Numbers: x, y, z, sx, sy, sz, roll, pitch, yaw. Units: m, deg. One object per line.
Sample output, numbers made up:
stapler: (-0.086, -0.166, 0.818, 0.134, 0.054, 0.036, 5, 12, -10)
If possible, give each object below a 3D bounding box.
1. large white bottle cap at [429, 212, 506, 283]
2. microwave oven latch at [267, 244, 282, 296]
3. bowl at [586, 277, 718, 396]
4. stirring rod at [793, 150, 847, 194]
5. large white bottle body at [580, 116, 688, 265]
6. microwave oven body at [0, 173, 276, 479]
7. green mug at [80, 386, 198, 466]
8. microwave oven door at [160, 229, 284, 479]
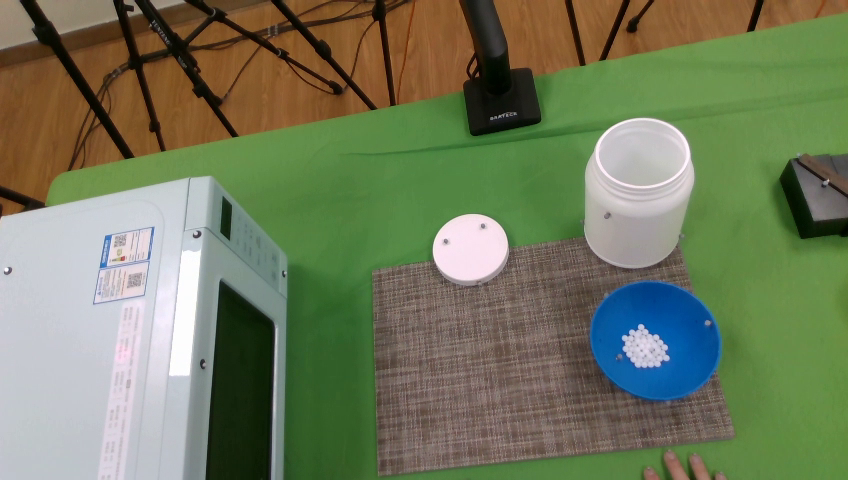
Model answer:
large white bottle cap: (0.065, 0.010, 0.909, 0.114, 0.018, 0.114, -5, 62, 10)
microwave oven latch: (-0.234, 0.048, 0.929, 0.030, 0.030, 0.078, -9, 63, 7)
bowl: (0.281, 0.130, 0.765, 0.151, 0.077, 0.150, -5, 63, 11)
stirring rod: (0.557, -0.062, 0.783, 0.174, 0.006, 0.014, 48, 116, 27)
large white bottle body: (0.273, -0.063, 0.802, 0.130, 0.186, 0.129, -6, 59, 10)
microwave oven body: (-0.381, 0.187, 0.782, 0.326, 0.262, 0.437, -10, 63, 7)
green mug: (-0.356, 0.232, 0.779, 0.125, 0.106, 0.091, -20, 63, -3)
microwave oven door: (-0.235, 0.194, 0.740, 0.039, 0.246, 0.352, -11, 62, 8)
